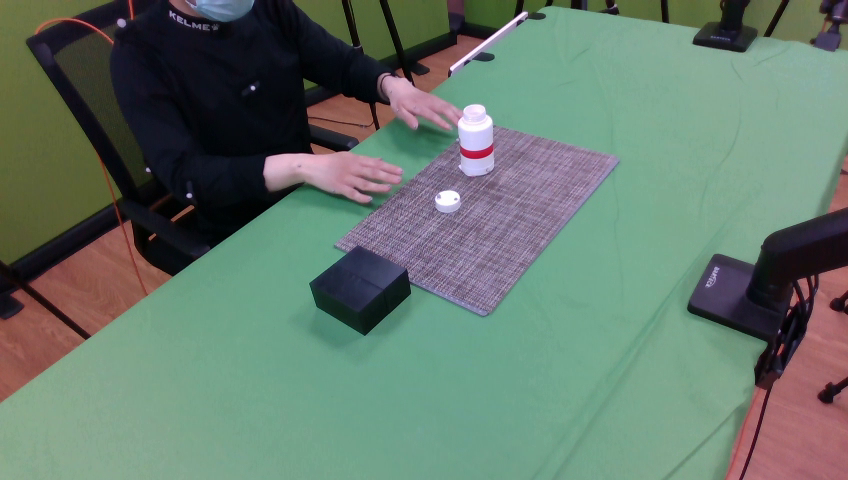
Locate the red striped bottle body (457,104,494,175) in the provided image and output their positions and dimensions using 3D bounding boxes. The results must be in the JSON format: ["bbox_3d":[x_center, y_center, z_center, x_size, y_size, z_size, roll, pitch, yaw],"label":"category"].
[{"bbox_3d":[0.093,-0.182,1.085,0.063,0.120,0.062,-4,41,4],"label":"red striped bottle body"}]

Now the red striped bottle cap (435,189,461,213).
[{"bbox_3d":[0.042,-0.068,1.040,0.044,0.018,0.044,-5,46,6],"label":"red striped bottle cap"}]
